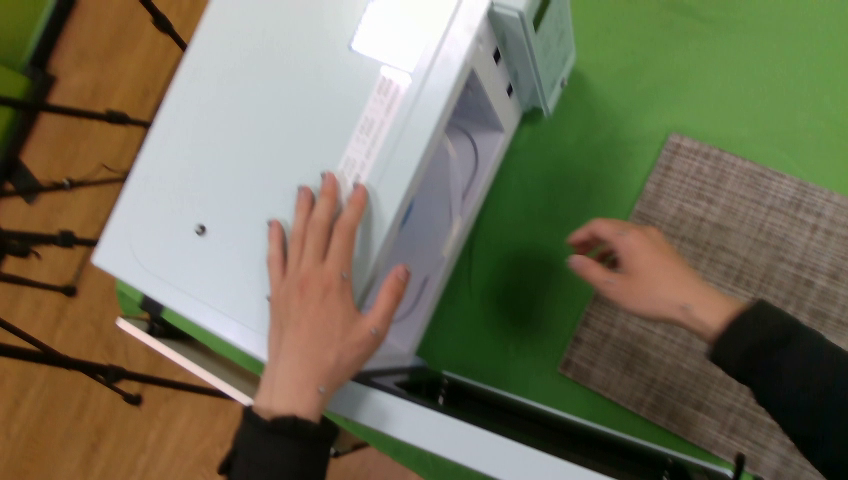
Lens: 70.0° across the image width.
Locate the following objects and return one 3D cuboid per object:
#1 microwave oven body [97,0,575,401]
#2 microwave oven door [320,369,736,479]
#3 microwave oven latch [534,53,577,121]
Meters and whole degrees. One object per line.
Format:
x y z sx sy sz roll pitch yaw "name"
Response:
-0.077 -0.095 0.664 0.324 0.262 0.441 24 89 19 "microwave oven body"
0.111 0.192 0.551 0.354 0.245 0.039 14 85 19 "microwave oven door"
0.153 -0.182 0.711 0.030 0.030 0.079 25 89 19 "microwave oven latch"
